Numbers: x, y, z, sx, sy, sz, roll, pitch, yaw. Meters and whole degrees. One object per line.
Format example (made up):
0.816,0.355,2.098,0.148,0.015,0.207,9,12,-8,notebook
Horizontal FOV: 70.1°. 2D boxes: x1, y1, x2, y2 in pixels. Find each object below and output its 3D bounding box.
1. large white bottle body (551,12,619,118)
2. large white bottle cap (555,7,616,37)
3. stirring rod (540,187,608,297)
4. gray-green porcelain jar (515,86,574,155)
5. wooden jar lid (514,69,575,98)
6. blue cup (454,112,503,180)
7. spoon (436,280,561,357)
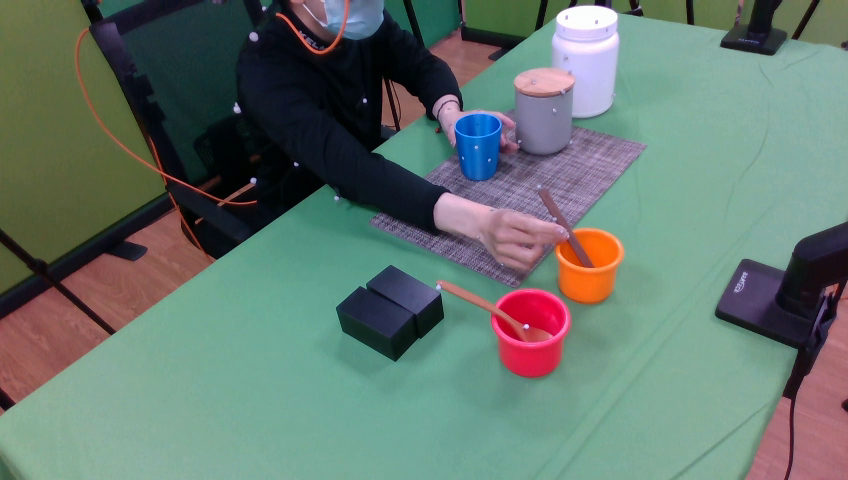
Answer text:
0.321,-0.356,1.218,0.130,0.185,0.130,-4,41,4,large white bottle body
0.311,-0.420,1.163,0.115,0.018,0.114,-4,40,4,large white bottle cap
0.212,0.003,0.854,0.014,0.006,0.176,-30,89,-26,stirring rod
0.223,-0.232,1.129,0.106,0.127,0.105,-4,40,4,gray-green porcelain jar
0.216,-0.279,1.088,0.108,0.021,0.108,-3,38,3,wooden jar lid
0.098,-0.165,1.088,0.092,0.100,0.092,-3,41,3,blue cup
0.096,0.095,0.757,0.195,0.021,0.041,34,43,-20,spoon
